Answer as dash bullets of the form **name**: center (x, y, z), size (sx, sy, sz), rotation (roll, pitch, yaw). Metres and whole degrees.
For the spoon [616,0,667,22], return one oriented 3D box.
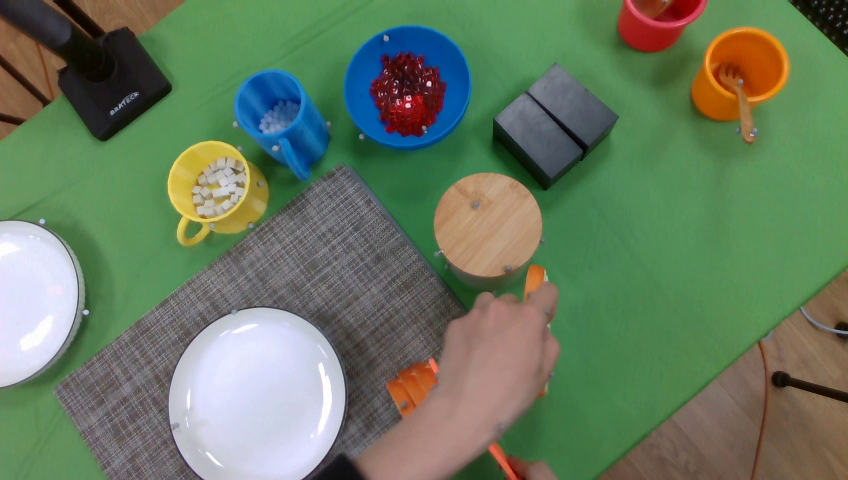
- **spoon**: center (0.312, -0.299, 0.694), size (0.193, 0.022, 0.041), rotation (-11, 69, 49)

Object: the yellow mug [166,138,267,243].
- **yellow mug**: center (-0.259, -0.054, 0.739), size (0.099, 0.064, 0.130), rotation (29, 84, 10)

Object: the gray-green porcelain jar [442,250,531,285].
- **gray-green porcelain jar**: center (0.069, -0.007, 0.670), size (0.106, 0.127, 0.105), rotation (-1, 79, 5)

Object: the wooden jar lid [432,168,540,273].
- **wooden jar lid**: center (0.062, -0.019, 0.609), size (0.108, 0.021, 0.108), rotation (0, 79, 2)

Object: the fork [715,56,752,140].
- **fork**: center (0.341, -0.160, 0.663), size (0.028, 0.019, 0.206), rotation (23, 38, 3)

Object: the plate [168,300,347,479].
- **plate**: center (-0.188, 0.175, 0.699), size (0.209, 0.038, 0.208), rotation (-1, 79, 5)

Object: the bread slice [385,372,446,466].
- **bread slice**: center (-0.010, 0.185, 0.638), size (0.018, 0.135, 0.106), rotation (-31, 76, -7)

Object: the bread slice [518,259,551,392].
- **bread slice**: center (0.110, 0.082, 0.590), size (0.019, 0.133, 0.104), rotation (2, 64, 16)

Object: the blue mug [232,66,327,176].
- **blue mug**: center (-0.165, -0.132, 0.725), size (0.082, 0.106, 0.116), rotation (-19, 78, 1)

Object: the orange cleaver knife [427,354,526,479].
- **orange cleaver knife**: center (0.068, 0.201, 0.605), size (0.012, 0.077, 0.212), rotation (-36, 101, -1)

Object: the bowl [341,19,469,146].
- **bowl**: center (-0.019, -0.177, 0.734), size (0.151, 0.077, 0.150), rotation (-1, 80, 5)

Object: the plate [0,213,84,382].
- **plate**: center (-0.517, 0.071, 0.752), size (0.207, 0.039, 0.206), rotation (-1, 79, 5)
